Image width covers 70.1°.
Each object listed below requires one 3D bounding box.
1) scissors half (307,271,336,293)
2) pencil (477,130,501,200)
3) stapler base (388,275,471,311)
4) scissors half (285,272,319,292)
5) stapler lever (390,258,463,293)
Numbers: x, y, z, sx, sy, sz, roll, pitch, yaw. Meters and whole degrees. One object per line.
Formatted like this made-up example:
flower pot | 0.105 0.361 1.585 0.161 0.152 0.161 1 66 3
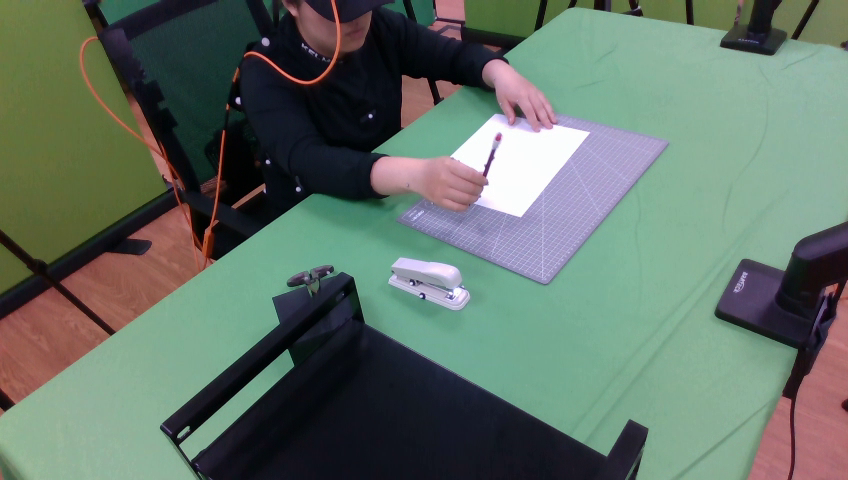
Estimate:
scissors half | -0.152 0.061 0.872 0.040 0.013 0.175 -3 6 -4
pencil | 0.096 -0.108 0.925 0.012 0.194 0.012 2 65 -3
stapler base | 0.007 0.066 0.897 0.129 0.024 0.041 17 43 29
scissors half | -0.171 0.063 0.868 0.040 0.013 0.174 -11 7 -21
stapler lever | 0.002 0.046 0.881 0.117 0.040 0.027 17 43 29
